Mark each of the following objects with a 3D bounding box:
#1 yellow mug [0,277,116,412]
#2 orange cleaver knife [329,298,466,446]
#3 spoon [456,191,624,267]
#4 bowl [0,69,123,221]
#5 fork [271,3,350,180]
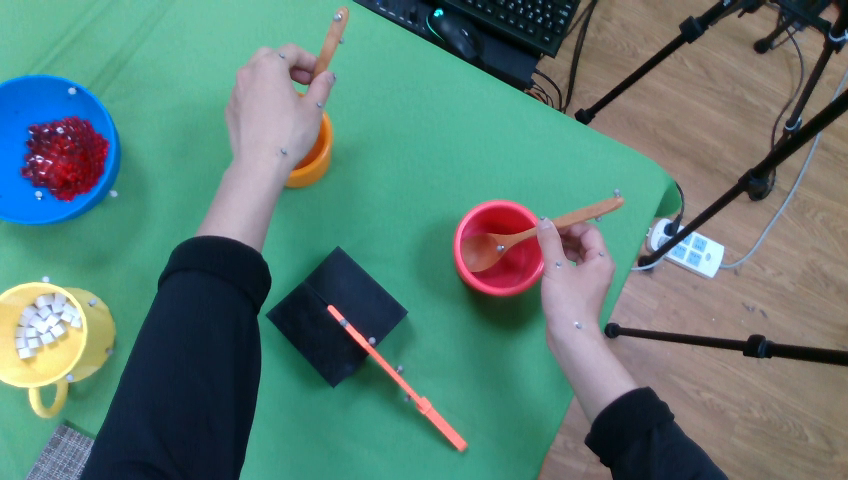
[{"bbox_3d":[-0.370,0.104,0.601,0.100,0.064,0.130,-3,83,-5],"label":"yellow mug"},{"bbox_3d":[-0.025,0.136,0.614,0.012,0.076,0.213,-42,119,-8],"label":"orange cleaver knife"},{"bbox_3d":[0.112,-0.012,0.616,0.022,0.193,0.041,-1,74,-49],"label":"spoon"},{"bbox_3d":[-0.376,-0.087,0.621,0.151,0.077,0.151,1,82,-5],"label":"bowl"},{"bbox_3d":[-0.115,-0.142,0.607,0.028,0.208,0.018,33,39,0],"label":"fork"}]
